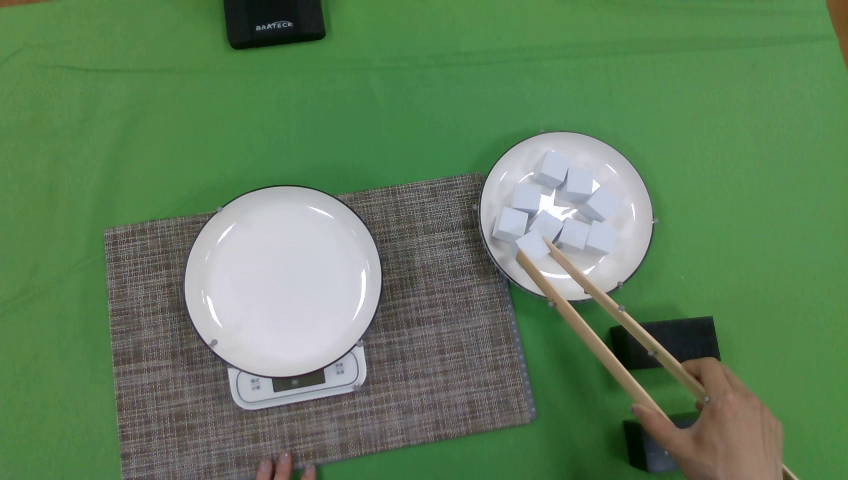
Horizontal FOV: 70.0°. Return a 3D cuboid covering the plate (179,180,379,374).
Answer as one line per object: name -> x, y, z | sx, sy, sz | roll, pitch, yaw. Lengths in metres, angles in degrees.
plate -> -0.153, 0.039, 0.655 | 0.209, 0.038, 0.208 | 1, 79, -4

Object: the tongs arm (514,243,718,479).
tongs arm -> 0.209, 0.143, 0.585 | 0.028, 0.028, 0.384 | -27, 61, -22

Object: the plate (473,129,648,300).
plate -> 0.159, -0.029, 0.724 | 0.208, 0.039, 0.206 | 1, 78, -4

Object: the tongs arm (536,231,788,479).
tongs arm -> 0.228, 0.133, 0.592 | 0.051, 0.027, 0.381 | -33, 63, -21

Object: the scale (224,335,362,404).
scale -> -0.155, 0.074, 0.682 | 0.149, 0.031, 0.200 | -9, 79, -5
